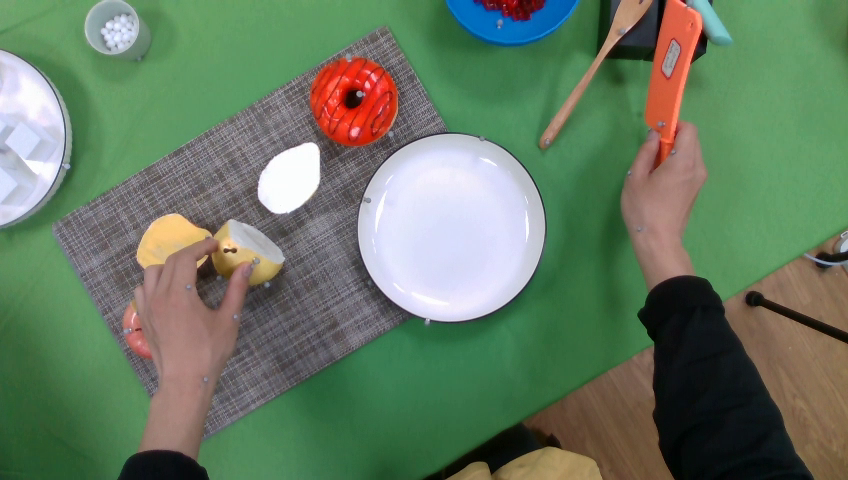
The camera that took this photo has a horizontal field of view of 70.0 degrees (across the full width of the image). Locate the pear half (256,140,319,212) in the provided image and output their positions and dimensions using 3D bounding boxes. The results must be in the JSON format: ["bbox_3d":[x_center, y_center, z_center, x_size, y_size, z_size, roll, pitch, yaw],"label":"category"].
[{"bbox_3d":[-0.145,-0.069,0.676,0.070,0.031,0.088,34,82,13],"label":"pear half"}]

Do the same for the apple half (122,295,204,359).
[{"bbox_3d":[-0.287,0.100,0.660,0.081,0.074,0.053,24,95,-3],"label":"apple half"}]

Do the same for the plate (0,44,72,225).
[{"bbox_3d":[-0.496,-0.117,0.684,0.207,0.039,0.207,0,91,1],"label":"plate"}]

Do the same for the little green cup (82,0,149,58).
[{"bbox_3d":[-0.343,-0.235,0.679,0.061,0.038,0.061,0,90,2],"label":"little green cup"}]

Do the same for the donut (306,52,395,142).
[{"bbox_3d":[-0.081,-0.157,0.667,0.099,0.048,0.099,0,92,4],"label":"donut"}]

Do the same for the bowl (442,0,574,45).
[{"bbox_3d":[0.087,-0.276,0.650,0.151,0.077,0.151,0,91,1],"label":"bowl"}]

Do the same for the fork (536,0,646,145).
[{"bbox_3d":[0.178,-0.190,0.644,0.028,0.018,0.208,29,111,-5],"label":"fork"}]

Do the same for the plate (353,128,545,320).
[{"bbox_3d":[0.028,-0.017,0.670,0.209,0.038,0.209,0,91,1],"label":"plate"}]

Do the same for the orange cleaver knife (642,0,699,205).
[{"bbox_3d":[0.247,-0.142,0.631,0.012,0.076,0.212,-2,115,-7],"label":"orange cleaver knife"}]

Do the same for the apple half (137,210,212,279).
[{"bbox_3d":[-0.276,0.011,0.676,0.081,0.033,0.080,3,67,-6],"label":"apple half"}]

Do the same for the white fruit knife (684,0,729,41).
[{"bbox_3d":[0.257,-0.295,0.627,0.027,0.016,0.207,-28,88,-28],"label":"white fruit knife"}]

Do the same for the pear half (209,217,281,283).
[{"bbox_3d":[-0.199,0.017,0.639,0.076,0.110,0.056,36,93,5],"label":"pear half"}]
